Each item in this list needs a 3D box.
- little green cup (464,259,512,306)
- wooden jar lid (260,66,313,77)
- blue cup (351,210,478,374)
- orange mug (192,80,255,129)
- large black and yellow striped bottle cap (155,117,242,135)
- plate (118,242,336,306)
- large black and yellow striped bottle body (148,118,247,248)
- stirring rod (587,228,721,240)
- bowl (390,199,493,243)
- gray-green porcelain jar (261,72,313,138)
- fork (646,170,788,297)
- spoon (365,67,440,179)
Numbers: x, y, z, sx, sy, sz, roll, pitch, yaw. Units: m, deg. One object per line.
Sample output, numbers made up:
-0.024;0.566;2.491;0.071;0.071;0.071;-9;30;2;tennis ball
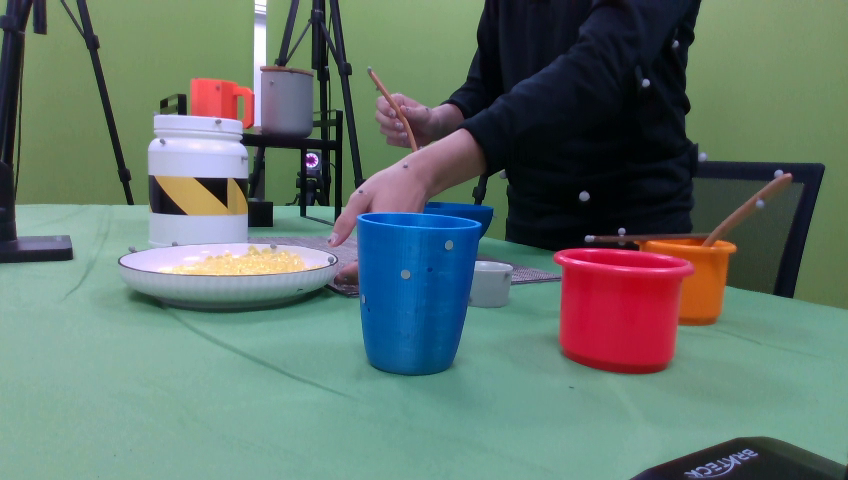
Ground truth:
0.057;0.043;0.611;0.061;0.038;0.061;3;7;0;little green cup
-0.283;-0.339;1.244;0.108;0.020;0.108;6;9;-1;wooden jar lid
-0.009;0.034;0.414;0.093;0.100;0.092;4;8;0;blue cup
-0.389;-0.257;1.172;0.126;0.100;0.083;0;6;9;orange mug
-0.313;-0.159;0.845;0.115;0.019;0.115;3;9;0;large black and yellow striped bottle cap
-0.194;0.033;0.615;0.209;0.038;0.209;2;7;0;plate
-0.318;-0.076;0.855;0.131;0.184;0.130;2;7;0;large black and yellow striped bottle body
0.227;-0.007;0.586;0.177;0.006;0.014;-2;11;-29;stirring rod
0.023;-0.016;0.874;0.151;0.077;0.151;3;7;0;bowl
-0.284;-0.276;1.253;0.106;0.126;0.106;2;8;0;gray-green porcelain jar
0.256;0.004;0.543;0.028;0.018;0.207;3;-36;-10;fork
-0.032;-0.172;0.895;0.021;0.194;0.041;-27;8;12;spoon
